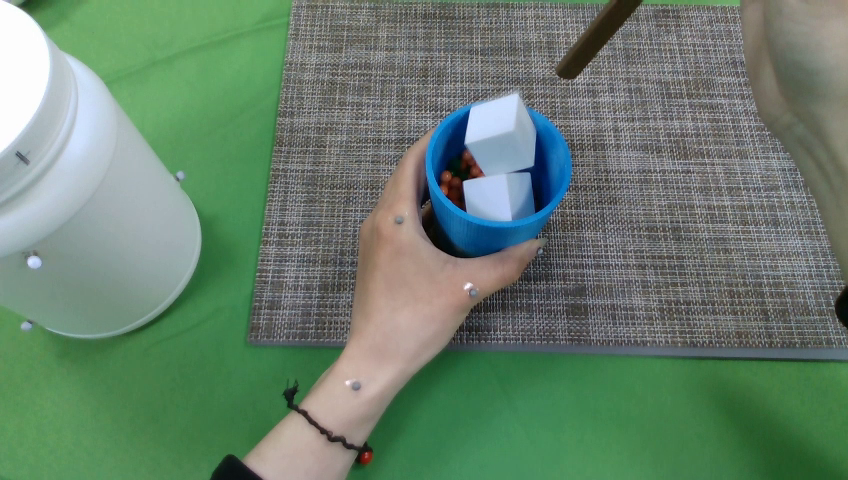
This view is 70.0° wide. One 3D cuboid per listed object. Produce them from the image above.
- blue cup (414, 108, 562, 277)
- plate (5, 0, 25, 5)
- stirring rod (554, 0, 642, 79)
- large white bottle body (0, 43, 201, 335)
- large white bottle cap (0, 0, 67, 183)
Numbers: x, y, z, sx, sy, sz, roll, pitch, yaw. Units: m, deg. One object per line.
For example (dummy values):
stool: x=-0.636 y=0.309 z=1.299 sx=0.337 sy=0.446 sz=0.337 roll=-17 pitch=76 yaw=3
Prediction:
blue cup: x=0.038 y=-0.020 z=0.394 sx=0.092 sy=0.101 sz=0.092 roll=-1 pitch=66 yaw=2
plate: x=-0.398 y=-0.268 z=0.531 sx=0.208 sy=0.039 sz=0.206 roll=0 pitch=67 yaw=0
stirring rod: x=0.114 y=-0.135 z=0.264 sx=0.014 sy=0.176 sz=0.005 roll=4 pitch=56 yaw=-31
large white bottle body: x=-0.222 y=-0.029 z=0.349 sx=0.130 sy=0.186 sz=0.129 roll=0 pitch=66 yaw=0
large white bottle cap: x=-0.223 y=-0.064 z=0.272 sx=0.115 sy=0.018 sz=0.114 roll=0 pitch=66 yaw=0
